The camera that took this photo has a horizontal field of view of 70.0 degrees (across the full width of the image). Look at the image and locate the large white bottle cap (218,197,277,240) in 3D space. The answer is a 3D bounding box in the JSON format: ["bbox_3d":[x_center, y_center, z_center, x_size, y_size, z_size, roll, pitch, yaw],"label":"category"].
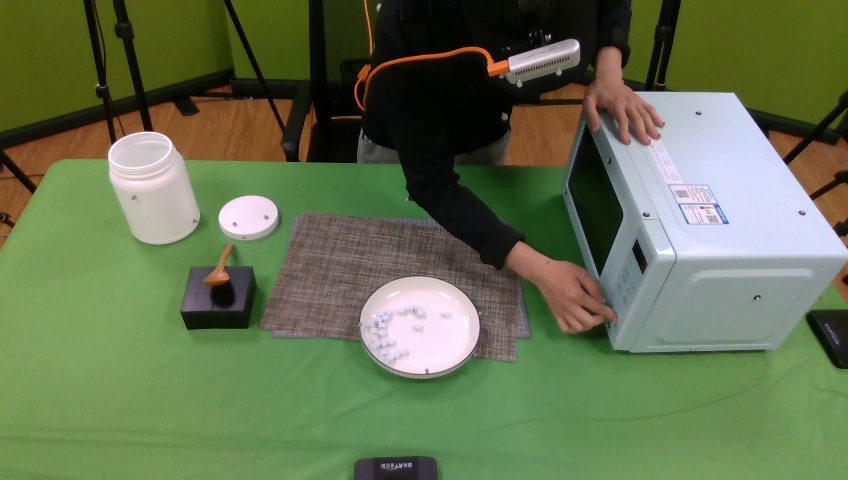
[{"bbox_3d":[-0.354,-0.045,1.220,0.115,0.018,0.114,2,45,-1],"label":"large white bottle cap"}]

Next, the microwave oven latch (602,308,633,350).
[{"bbox_3d":[0.332,0.153,1.044,0.030,0.029,0.078,-1,45,-4],"label":"microwave oven latch"}]

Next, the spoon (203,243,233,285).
[{"bbox_3d":[-0.360,0.039,1.087,0.041,0.022,0.192,-7,24,-6],"label":"spoon"}]

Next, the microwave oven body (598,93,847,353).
[{"bbox_3d":[0.475,-0.041,1.109,0.326,0.261,0.438,-1,45,-4],"label":"microwave oven body"}]

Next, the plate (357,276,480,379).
[{"bbox_3d":[-0.010,0.151,1.038,0.209,0.038,0.208,2,47,-2],"label":"plate"}]

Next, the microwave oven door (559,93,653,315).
[{"bbox_3d":[0.327,-0.074,1.123,0.039,0.245,0.353,0,46,-5],"label":"microwave oven door"}]

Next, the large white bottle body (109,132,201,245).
[{"bbox_3d":[-0.506,-0.097,1.141,0.131,0.185,0.130,2,46,-2],"label":"large white bottle body"}]

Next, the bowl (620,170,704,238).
[{"bbox_3d":[0.445,-0.057,1.166,0.151,0.077,0.150,2,46,-1],"label":"bowl"}]
